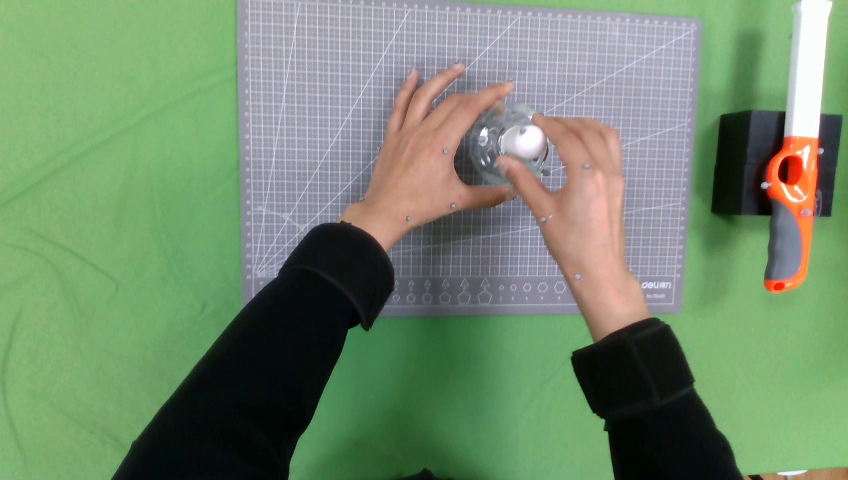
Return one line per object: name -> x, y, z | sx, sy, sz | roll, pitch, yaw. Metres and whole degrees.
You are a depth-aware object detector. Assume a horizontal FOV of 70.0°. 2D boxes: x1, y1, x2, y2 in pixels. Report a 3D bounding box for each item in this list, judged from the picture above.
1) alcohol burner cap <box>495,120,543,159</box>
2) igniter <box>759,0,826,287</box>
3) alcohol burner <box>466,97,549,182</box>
alcohol burner cap -> 0.082, -0.085, 0.510 | 0.034, 0.047, 0.034 | -1, 97, -11
igniter -> 0.354, -0.091, 0.582 | 0.057, 0.025, 0.276 | 3, 94, -8
alcohol burner -> 0.079, -0.090, 0.540 | 0.078, 0.118, 0.078 | -1, 98, -10
